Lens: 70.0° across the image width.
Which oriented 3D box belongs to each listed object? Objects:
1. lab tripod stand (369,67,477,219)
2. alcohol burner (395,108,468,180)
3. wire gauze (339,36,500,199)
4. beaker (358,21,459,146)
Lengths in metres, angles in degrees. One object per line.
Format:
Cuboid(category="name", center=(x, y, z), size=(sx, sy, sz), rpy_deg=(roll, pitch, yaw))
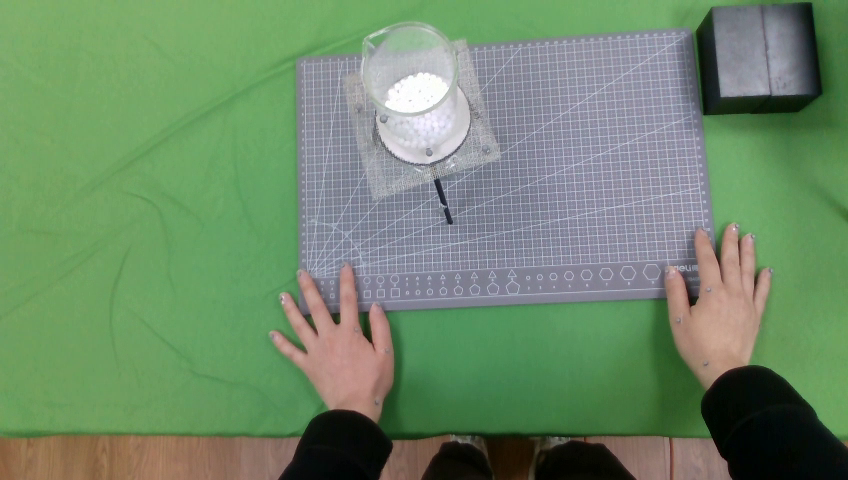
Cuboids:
Cuboid(category="lab tripod stand", center=(0.004, -0.102, 0.614), size=(0.148, 0.132, 0.148), rpy_deg=(0, 82, 3))
Cuboid(category="alcohol burner", center=(0.006, -0.105, 0.625), size=(0.078, 0.119, 0.077), rpy_deg=(-1, 79, 6))
Cuboid(category="wire gauze", center=(-0.006, -0.113, 0.550), size=(0.121, 0.011, 0.124), rpy_deg=(-17, 84, 4))
Cuboid(category="beaker", center=(-0.011, -0.125, 0.503), size=(0.083, 0.100, 0.074), rpy_deg=(38, 86, 9))
